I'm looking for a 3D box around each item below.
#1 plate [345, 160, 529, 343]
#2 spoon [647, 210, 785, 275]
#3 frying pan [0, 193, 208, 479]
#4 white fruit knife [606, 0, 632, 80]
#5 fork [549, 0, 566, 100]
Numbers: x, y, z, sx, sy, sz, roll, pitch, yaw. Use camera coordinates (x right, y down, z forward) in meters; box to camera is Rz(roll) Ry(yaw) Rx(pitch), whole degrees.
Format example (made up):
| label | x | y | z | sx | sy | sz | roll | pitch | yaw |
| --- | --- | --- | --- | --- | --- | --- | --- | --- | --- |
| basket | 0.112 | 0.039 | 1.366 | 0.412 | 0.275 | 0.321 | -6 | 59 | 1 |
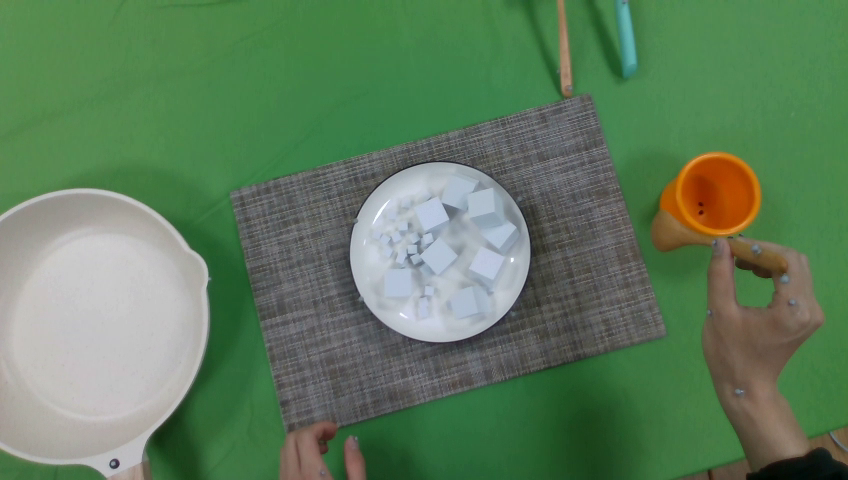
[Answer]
| label | x | y | z | sx | sy | sz | roll | pitch | yaw |
| --- | --- | --- | --- | --- | --- | --- | --- | --- | --- |
| plate | 0.015 | 0.013 | 0.694 | 0.208 | 0.039 | 0.207 | 0 | 83 | 1 |
| spoon | 0.238 | 0.002 | 0.512 | 0.022 | 0.192 | 0.042 | -2 | 99 | -10 |
| frying pan | -0.336 | 0.188 | 0.645 | 0.307 | 0.103 | 0.484 | -23 | 75 | -2 |
| white fruit knife | 0.219 | -0.294 | 0.713 | 0.016 | 0.027 | 0.208 | -13 | 98 | -2 |
| fork | 0.151 | -0.270 | 0.712 | 0.028 | 0.018 | 0.208 | -11 | 101 | -7 |
